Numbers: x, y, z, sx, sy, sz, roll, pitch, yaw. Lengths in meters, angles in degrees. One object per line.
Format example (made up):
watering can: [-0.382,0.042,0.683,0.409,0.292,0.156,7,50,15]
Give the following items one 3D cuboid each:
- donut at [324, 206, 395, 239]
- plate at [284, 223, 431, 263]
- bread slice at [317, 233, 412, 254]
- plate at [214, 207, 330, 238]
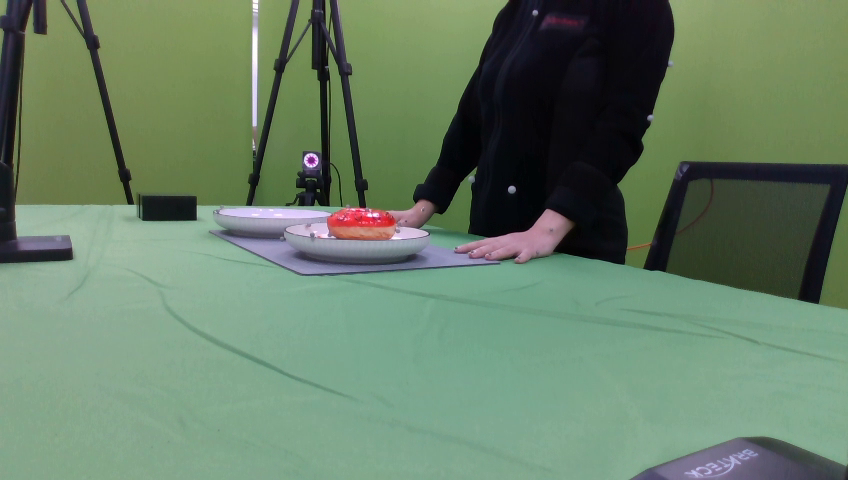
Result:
donut: [-0.089,-0.022,0.847,0.099,0.048,0.099,4,8,0]
plate: [-0.094,0.003,0.868,0.209,0.038,0.209,2,7,0]
bread slice: [-0.096,0.004,0.863,0.107,0.018,0.133,-1,6,-31]
plate: [-0.268,-0.032,1.085,0.208,0.039,0.207,2,7,0]
